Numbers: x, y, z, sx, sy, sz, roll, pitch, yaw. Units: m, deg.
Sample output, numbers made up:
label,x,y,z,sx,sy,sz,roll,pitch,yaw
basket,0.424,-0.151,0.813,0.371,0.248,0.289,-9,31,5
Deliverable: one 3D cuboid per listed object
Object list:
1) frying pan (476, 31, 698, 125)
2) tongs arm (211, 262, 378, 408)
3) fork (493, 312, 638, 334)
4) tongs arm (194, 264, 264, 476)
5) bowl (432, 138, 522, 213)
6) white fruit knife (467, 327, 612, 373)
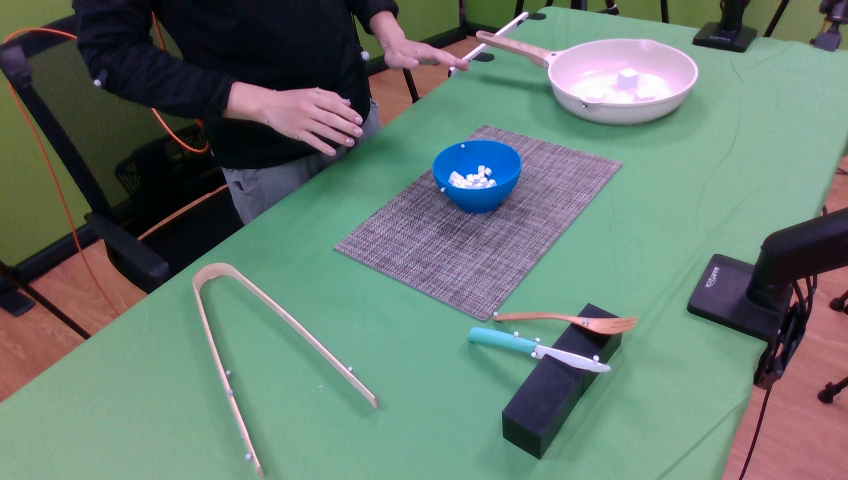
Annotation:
label,x,y,z,sx,sy,sz,roll,pitch,yaw
frying pan,0.321,-0.371,1.290,0.484,0.103,0.307,29,51,24
tongs arm,-0.192,0.121,0.850,0.028,0.028,0.384,-37,48,-27
fork,0.173,0.103,0.774,0.206,0.019,0.028,0,41,40
tongs arm,-0.259,0.153,0.816,0.051,0.026,0.381,-24,42,-20
bowl,0.091,-0.100,1.022,0.151,0.077,0.150,-4,41,4
white fruit knife,0.134,0.134,0.742,0.205,0.027,0.016,7,34,41
